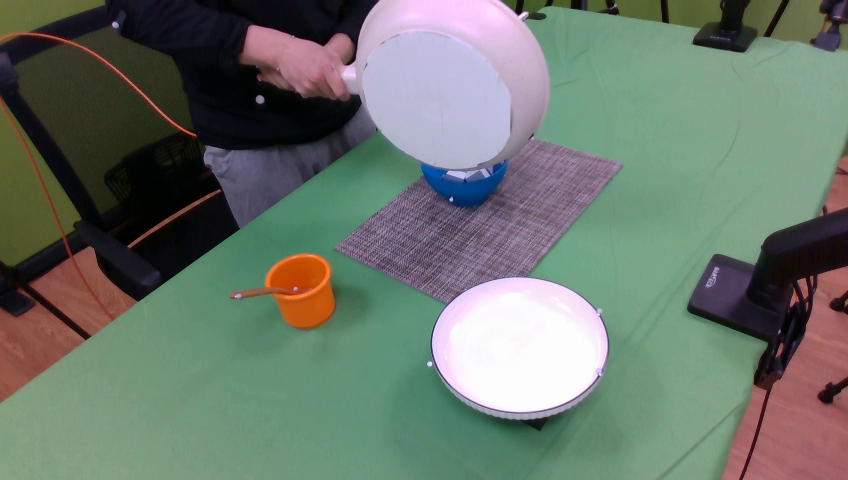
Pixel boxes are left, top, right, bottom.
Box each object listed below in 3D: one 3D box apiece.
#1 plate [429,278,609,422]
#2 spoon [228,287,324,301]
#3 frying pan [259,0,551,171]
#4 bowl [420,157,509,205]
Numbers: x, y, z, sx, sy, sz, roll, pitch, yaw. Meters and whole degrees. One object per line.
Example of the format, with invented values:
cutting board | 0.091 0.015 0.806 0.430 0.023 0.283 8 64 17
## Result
plate | 0.111 0.129 0.716 0.207 0.039 0.206 -5 39 4
spoon | -0.197 0.071 0.816 0.041 0.195 0.021 12 88 23
frying pan | -0.059 -0.234 0.906 0.484 0.308 0.103 15 51 28
bowl | 0.071 -0.112 1.038 0.151 0.077 0.150 -4 40 4
